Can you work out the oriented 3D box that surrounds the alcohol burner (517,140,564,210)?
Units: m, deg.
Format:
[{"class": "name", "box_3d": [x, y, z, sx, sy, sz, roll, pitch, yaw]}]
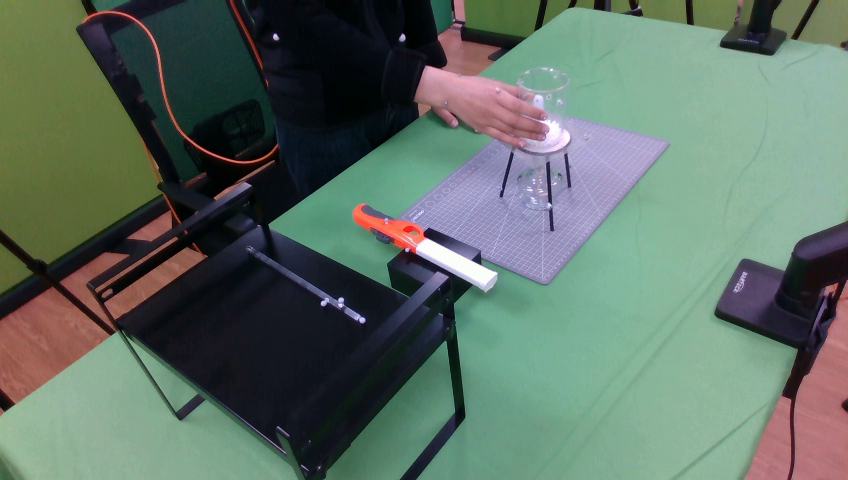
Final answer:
[{"class": "alcohol burner", "box_3d": [0.193, -0.110, 1.001, 0.078, 0.119, 0.077, -5, 38, 5]}]

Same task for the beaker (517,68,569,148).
[{"class": "beaker", "box_3d": [0.180, -0.198, 0.914, 0.073, 0.100, 0.084, 25, 50, 30]}]

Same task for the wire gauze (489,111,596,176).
[{"class": "wire gauze", "box_3d": [0.184, -0.158, 0.945, 0.122, 0.011, 0.124, -27, 48, -16]}]

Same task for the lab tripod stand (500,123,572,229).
[{"class": "lab tripod stand", "box_3d": [0.194, -0.110, 0.985, 0.148, 0.132, 0.147, -3, 41, 3]}]

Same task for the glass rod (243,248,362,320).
[{"class": "glass rod", "box_3d": [-0.140, 0.045, 0.674, 0.198, 0.008, 0.008, 25, 50, 33]}]

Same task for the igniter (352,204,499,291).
[{"class": "igniter", "box_3d": [-0.009, 0.005, 0.895, 0.274, 0.025, 0.057, 27, 48, 32]}]

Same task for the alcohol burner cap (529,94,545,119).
[{"class": "alcohol burner cap", "box_3d": [0.233, -0.277, 1.247, 0.034, 0.048, 0.033, -5, 41, 5]}]
